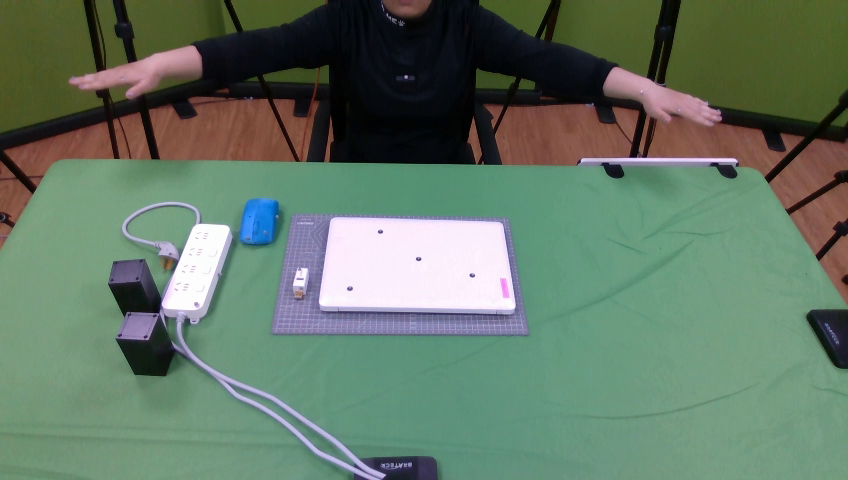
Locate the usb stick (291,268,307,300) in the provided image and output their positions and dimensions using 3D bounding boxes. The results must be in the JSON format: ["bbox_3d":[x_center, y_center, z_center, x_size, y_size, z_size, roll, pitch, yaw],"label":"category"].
[{"bbox_3d":[-0.227,0.081,1.093,0.021,0.027,0.059,5,47,-2],"label":"usb stick"}]

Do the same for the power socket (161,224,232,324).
[{"bbox_3d":[-0.412,0.053,1.106,0.072,0.033,0.225,4,46,-1],"label":"power socket"}]

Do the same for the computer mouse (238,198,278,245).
[{"bbox_3d":[-0.328,-0.039,1.200,0.063,0.041,0.116,3,50,-4],"label":"computer mouse"}]

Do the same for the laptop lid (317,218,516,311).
[{"bbox_3d":[-0.013,0.040,1.143,0.357,0.013,0.240,3,43,-2],"label":"laptop lid"}]

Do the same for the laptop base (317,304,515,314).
[{"bbox_3d":[-0.014,0.049,1.150,0.354,0.023,0.234,1,42,-3],"label":"laptop base"}]

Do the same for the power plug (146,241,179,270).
[{"bbox_3d":[-0.489,0.030,1.130,0.072,0.035,0.052,-1,64,26],"label":"power plug"}]
